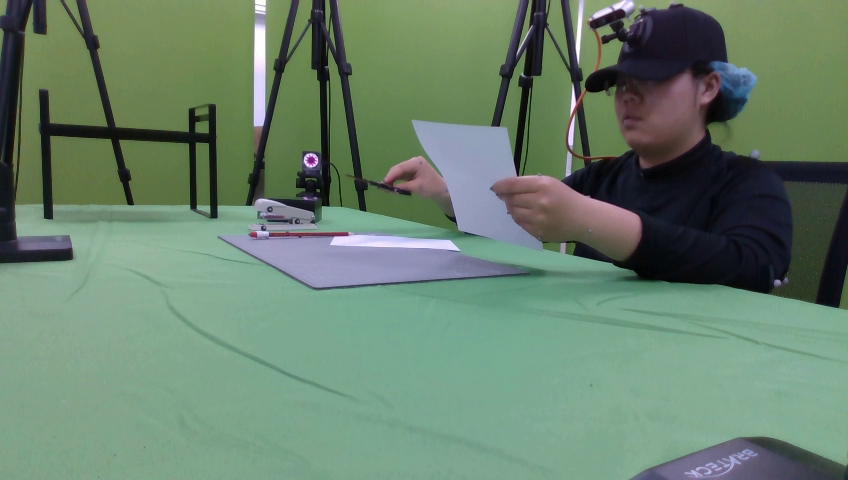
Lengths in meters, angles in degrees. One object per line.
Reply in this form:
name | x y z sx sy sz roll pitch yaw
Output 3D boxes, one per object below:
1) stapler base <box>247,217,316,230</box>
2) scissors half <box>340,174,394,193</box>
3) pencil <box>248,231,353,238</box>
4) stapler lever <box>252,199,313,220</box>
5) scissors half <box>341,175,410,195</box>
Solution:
stapler base | -0.276 -0.033 1.172 0.131 0.024 0.041 0 10 -37
scissors half | -0.100 -0.102 1.085 0.040 0.013 0.176 6 -2 25
pencil | -0.206 -0.009 1.040 0.195 0.012 0.012 0 8 -36
stapler lever | -0.273 -0.058 1.170 0.119 0.040 0.026 0 10 -37
scissors half | -0.084 -0.099 1.075 0.040 0.013 0.176 12 2 40
